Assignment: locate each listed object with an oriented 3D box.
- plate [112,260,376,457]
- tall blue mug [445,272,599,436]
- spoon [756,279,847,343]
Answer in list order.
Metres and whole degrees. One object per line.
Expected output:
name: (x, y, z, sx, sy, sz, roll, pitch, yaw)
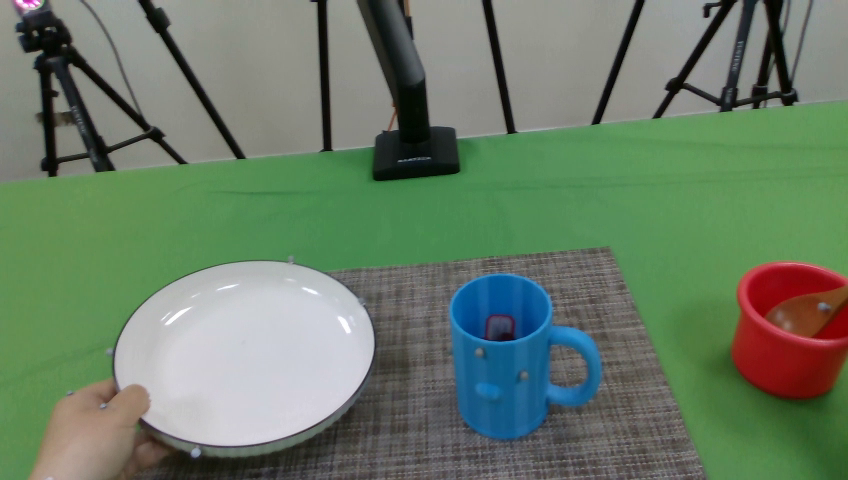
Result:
plate: (-0.146, 0.096, 0.513, 0.208, 0.039, 0.205, 6, 37, -4)
tall blue mug: (0.074, 0.088, 0.477, 0.107, 0.109, 0.077, -9, 36, -3)
spoon: (0.319, 0.027, 0.431, 0.022, 0.194, 0.041, 18, 55, -10)
